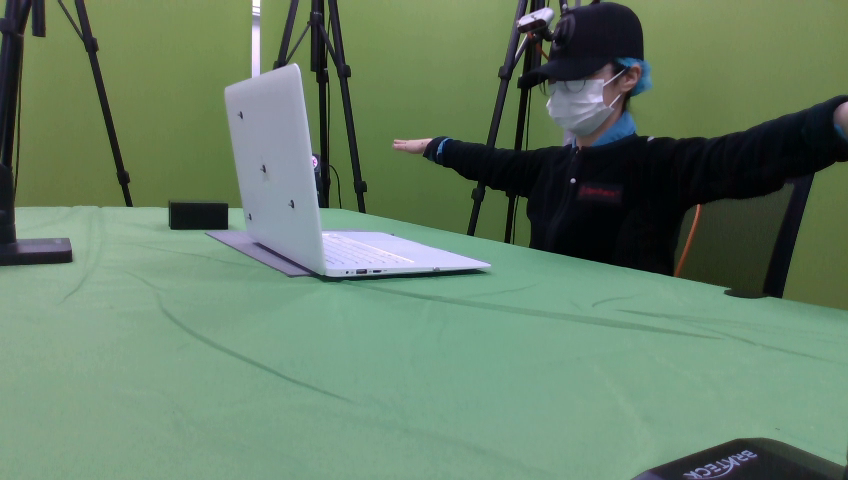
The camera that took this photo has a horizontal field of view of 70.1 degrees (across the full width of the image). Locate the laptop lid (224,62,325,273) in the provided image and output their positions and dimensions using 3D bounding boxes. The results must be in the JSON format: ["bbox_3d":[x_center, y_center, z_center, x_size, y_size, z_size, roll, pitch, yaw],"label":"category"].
[{"bbox_3d":[-0.210,-0.097,0.804,0.013,0.241,0.355,-12,15,-28],"label":"laptop lid"}]

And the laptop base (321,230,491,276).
[{"bbox_3d":[-0.095,0.015,0.888,0.237,0.023,0.352,2,7,-30],"label":"laptop base"}]
